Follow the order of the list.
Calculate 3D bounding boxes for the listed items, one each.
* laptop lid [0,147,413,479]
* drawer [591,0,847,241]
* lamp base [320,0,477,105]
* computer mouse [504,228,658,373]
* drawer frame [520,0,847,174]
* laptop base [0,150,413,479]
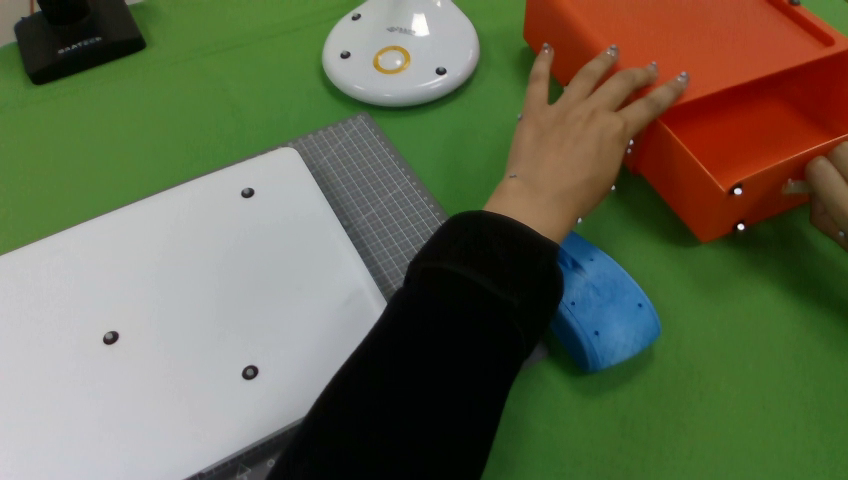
[{"bbox_3d":[-0.213,0.070,0.420,0.357,0.013,0.239,-24,58,-14],"label":"laptop lid"},{"bbox_3d":[0.258,-0.121,0.512,0.195,0.074,0.209,-20,55,-11],"label":"drawer"},{"bbox_3d":[-0.030,-0.250,0.562,0.160,0.182,0.177,2,51,5],"label":"lamp base"},{"bbox_3d":[0.109,0.036,0.432,0.063,0.041,0.116,-25,52,-13],"label":"computer mouse"},{"bbox_3d":[0.226,-0.181,0.559,0.202,0.083,0.211,-20,54,-11],"label":"drawer frame"},{"bbox_3d":[-0.213,0.075,0.430,0.355,0.023,0.233,-25,60,-15],"label":"laptop base"}]
